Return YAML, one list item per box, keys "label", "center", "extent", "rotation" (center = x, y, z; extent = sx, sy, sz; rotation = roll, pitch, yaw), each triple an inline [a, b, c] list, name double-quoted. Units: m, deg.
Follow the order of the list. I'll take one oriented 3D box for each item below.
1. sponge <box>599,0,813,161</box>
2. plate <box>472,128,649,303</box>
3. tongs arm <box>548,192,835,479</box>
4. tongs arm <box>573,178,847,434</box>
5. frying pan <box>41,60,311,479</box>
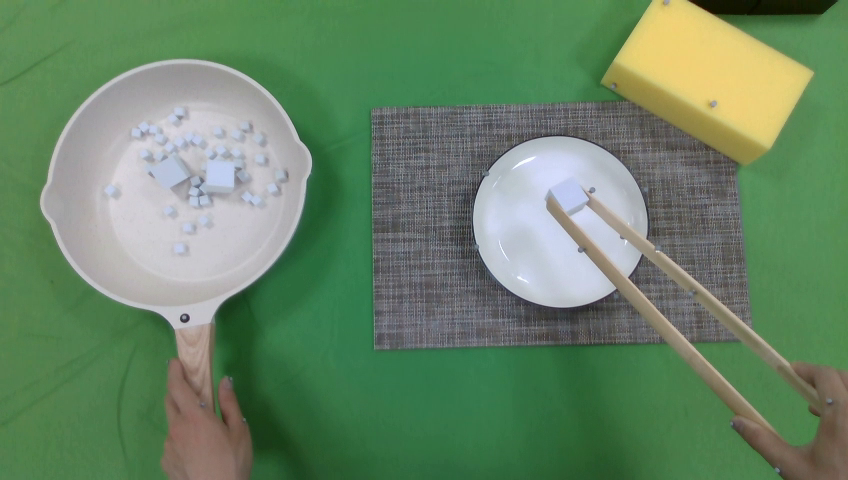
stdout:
- label: "sponge"
  center: [0.338, -0.202, 0.738]
  extent: [0.206, 0.061, 0.118]
  rotation: [31, 81, 6]
- label: "plate"
  center: [0.159, -0.028, 0.722]
  extent: [0.208, 0.039, 0.207]
  rotation: [0, 82, 0]
- label: "tongs arm"
  center: [0.240, 0.082, 0.556]
  extent: [0.028, 0.028, 0.383]
  rotation: [-28, 57, -16]
- label: "tongs arm"
  center: [0.260, 0.071, 0.561]
  extent: [0.051, 0.027, 0.381]
  rotation: [-34, 59, -16]
- label: "frying pan"
  center: [-0.263, 0.035, 0.684]
  extent: [0.307, 0.103, 0.484]
  rotation: [-9, 73, 0]
